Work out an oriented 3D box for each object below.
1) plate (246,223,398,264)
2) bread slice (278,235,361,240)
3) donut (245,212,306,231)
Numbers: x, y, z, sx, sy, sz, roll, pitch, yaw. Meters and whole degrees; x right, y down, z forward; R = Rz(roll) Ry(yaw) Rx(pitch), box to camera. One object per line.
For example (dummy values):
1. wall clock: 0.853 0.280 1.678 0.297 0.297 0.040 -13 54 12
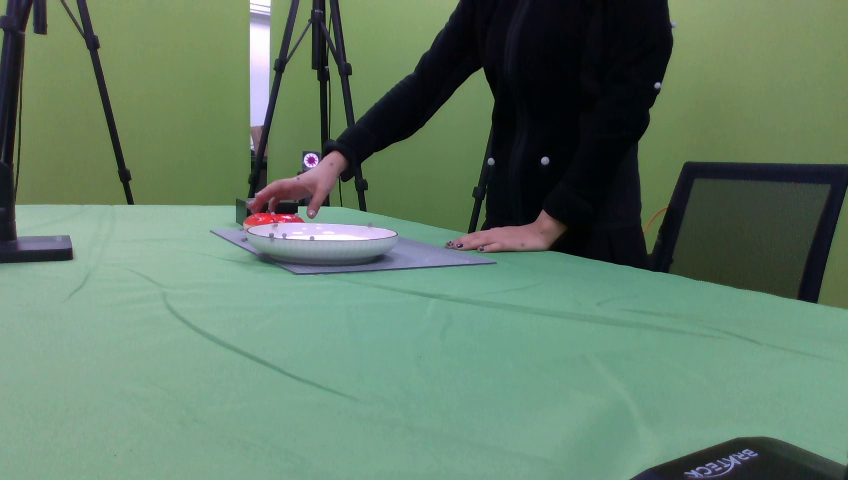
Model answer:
1. plate: -0.140 0.004 0.847 0.209 0.038 0.209 2 7 0
2. bread slice: -0.139 0.007 0.839 0.132 0.019 0.104 -2 8 -35
3. donut: -0.244 -0.023 0.997 0.099 0.048 0.099 2 5 0
